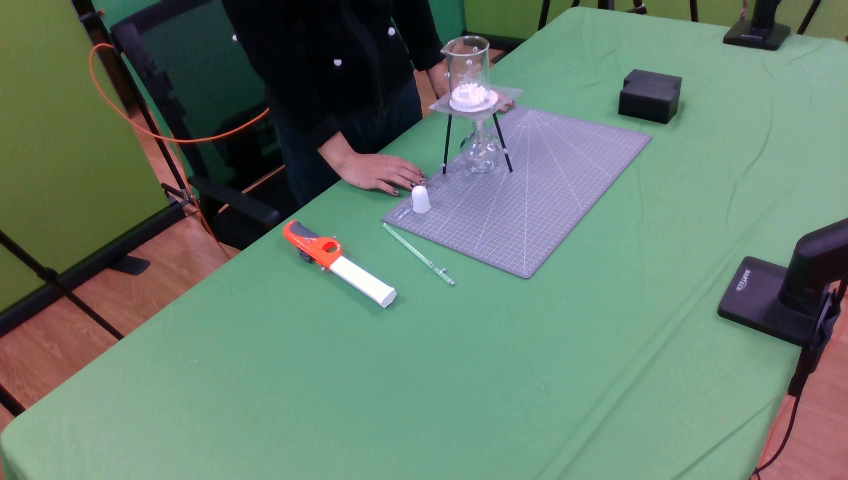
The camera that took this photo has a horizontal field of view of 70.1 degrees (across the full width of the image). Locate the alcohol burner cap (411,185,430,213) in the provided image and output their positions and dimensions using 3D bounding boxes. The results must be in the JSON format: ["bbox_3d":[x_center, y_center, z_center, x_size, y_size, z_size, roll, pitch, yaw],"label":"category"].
[{"bbox_3d":[-0.008,-0.074,1.050,0.034,0.048,0.033,-4,40,4],"label":"alcohol burner cap"}]

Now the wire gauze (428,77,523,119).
[{"bbox_3d":[0.090,-0.248,1.063,0.120,0.011,0.125,24,48,30],"label":"wire gauze"}]

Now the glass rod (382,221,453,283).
[{"bbox_3d":[-0.014,0.016,0.976,0.008,0.008,0.198,-29,44,-22],"label":"glass rod"}]

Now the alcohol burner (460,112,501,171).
[{"bbox_3d":[0.102,-0.186,1.106,0.078,0.119,0.077,-4,42,4],"label":"alcohol burner"}]

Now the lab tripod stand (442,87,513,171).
[{"bbox_3d":[0.097,-0.200,1.108,0.148,0.132,0.147,-4,40,4],"label":"lab tripod stand"}]

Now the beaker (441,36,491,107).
[{"bbox_3d":[0.074,-0.286,1.036,0.084,0.101,0.073,-1,41,8],"label":"beaker"}]

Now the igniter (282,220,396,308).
[{"bbox_3d":[-0.146,0.032,0.966,0.274,0.025,0.057,30,65,37],"label":"igniter"}]
